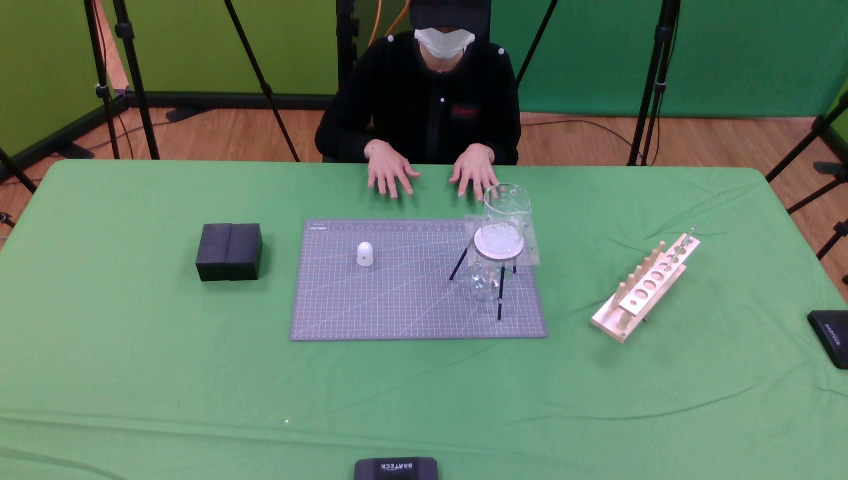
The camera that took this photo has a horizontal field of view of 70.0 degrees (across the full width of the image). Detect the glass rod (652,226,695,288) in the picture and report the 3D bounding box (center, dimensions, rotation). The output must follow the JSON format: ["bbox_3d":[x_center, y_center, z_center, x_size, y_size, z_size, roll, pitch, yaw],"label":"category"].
[{"bbox_3d":[0.432,0.037,1.057,0.008,0.200,0.008,1,54,-1],"label":"glass rod"}]

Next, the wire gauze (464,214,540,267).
[{"bbox_3d":[0.131,-0.001,1.035,0.121,0.011,0.124,1,44,-2],"label":"wire gauze"}]

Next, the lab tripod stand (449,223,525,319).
[{"bbox_3d":[0.120,0.046,1.080,0.148,0.132,0.147,1,47,-1],"label":"lab tripod stand"}]

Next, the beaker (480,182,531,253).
[{"bbox_3d":[0.133,-0.033,0.998,0.083,0.101,0.074,26,51,22],"label":"beaker"}]

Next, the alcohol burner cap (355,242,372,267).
[{"bbox_3d":[-0.114,0.024,1.147,0.034,0.048,0.033,2,45,-2],"label":"alcohol burner cap"}]

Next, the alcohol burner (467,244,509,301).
[{"bbox_3d":[0.116,0.053,1.087,0.078,0.120,0.077,1,44,-1],"label":"alcohol burner"}]

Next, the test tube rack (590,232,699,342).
[{"bbox_3d":[0.407,0.074,1.112,0.066,0.085,0.242,35,53,26],"label":"test tube rack"}]
